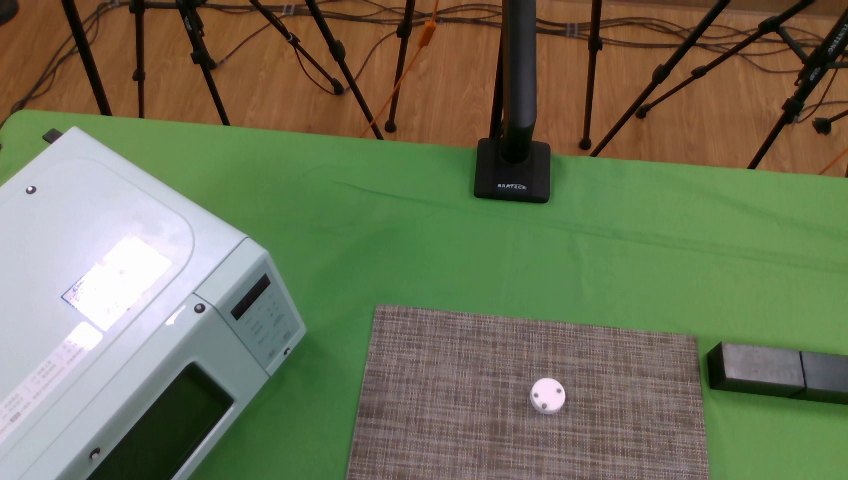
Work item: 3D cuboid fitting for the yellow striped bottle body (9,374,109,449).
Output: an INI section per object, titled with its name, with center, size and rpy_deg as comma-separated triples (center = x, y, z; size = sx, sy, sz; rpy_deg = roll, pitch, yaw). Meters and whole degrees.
[yellow striped bottle body]
center = -0.409, 0.190, 0.676
size = 0.063, 0.121, 0.062
rpy_deg = 1, 60, -1

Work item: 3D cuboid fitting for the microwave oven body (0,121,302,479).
[microwave oven body]
center = -0.415, 0.142, 0.693
size = 0.324, 0.262, 0.440
rpy_deg = 30, 66, 15

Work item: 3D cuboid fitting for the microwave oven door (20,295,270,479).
[microwave oven door]
center = -0.317, 0.241, 0.633
size = 0.039, 0.246, 0.354
rpy_deg = 30, 66, 16

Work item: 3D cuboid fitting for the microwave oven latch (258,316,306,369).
[microwave oven latch]
center = -0.191, 0.131, 0.809
size = 0.030, 0.030, 0.079
rpy_deg = 32, 67, 16

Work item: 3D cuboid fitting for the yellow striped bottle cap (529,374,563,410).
[yellow striped bottle cap]
center = 0.161, 0.200, 0.799
size = 0.044, 0.019, 0.044
rpy_deg = -1, 61, 2
